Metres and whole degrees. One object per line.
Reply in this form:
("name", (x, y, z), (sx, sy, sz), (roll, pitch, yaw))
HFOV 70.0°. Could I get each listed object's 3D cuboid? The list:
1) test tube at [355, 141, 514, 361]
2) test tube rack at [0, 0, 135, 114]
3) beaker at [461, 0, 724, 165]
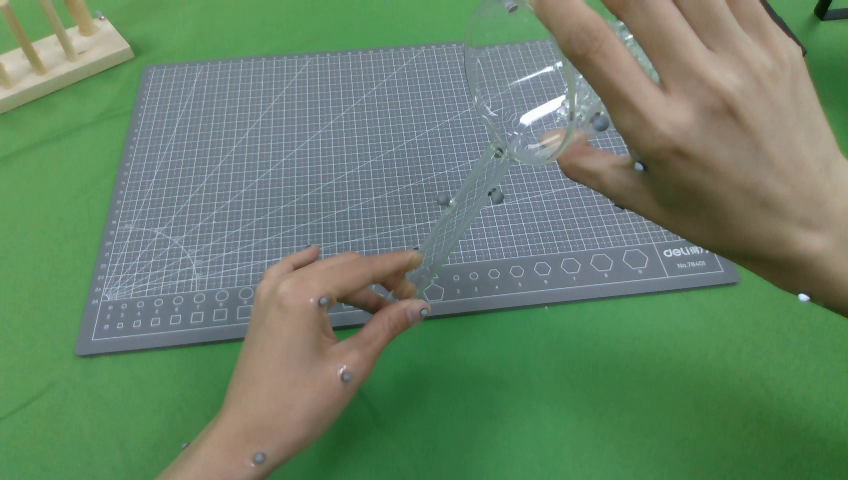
("test tube", (0.001, 0.012, 0.326), (0.017, 0.150, 0.017), (27, 25, -13))
("test tube rack", (-0.390, -0.157, 0.514), (0.242, 0.086, 0.066), (-33, 60, -22))
("beaker", (0.079, -0.085, 0.281), (0.100, 0.084, 0.073), (-26, 61, -21))
